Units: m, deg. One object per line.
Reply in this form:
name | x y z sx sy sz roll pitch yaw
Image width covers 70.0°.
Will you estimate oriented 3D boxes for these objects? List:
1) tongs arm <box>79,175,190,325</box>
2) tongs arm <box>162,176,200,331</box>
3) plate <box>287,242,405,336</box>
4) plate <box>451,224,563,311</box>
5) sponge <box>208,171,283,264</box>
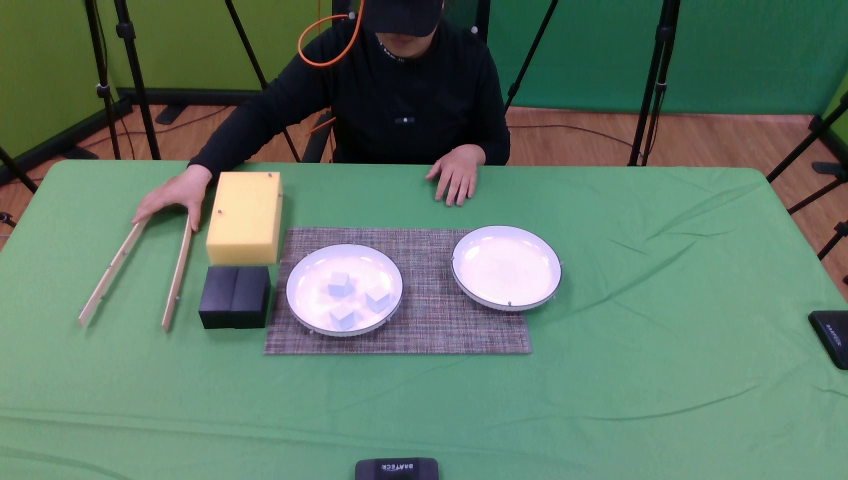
tongs arm | -0.534 0.004 1.145 0.051 0.026 0.382 5 45 1
tongs arm | -0.460 0.010 1.149 0.028 0.028 0.385 -5 46 -5
plate | -0.138 0.090 1.085 0.208 0.039 0.206 2 46 -2
plate | 0.154 0.053 1.140 0.209 0.038 0.208 2 46 -2
sponge | -0.345 -0.048 1.191 0.118 0.061 0.205 -2 46 -6
